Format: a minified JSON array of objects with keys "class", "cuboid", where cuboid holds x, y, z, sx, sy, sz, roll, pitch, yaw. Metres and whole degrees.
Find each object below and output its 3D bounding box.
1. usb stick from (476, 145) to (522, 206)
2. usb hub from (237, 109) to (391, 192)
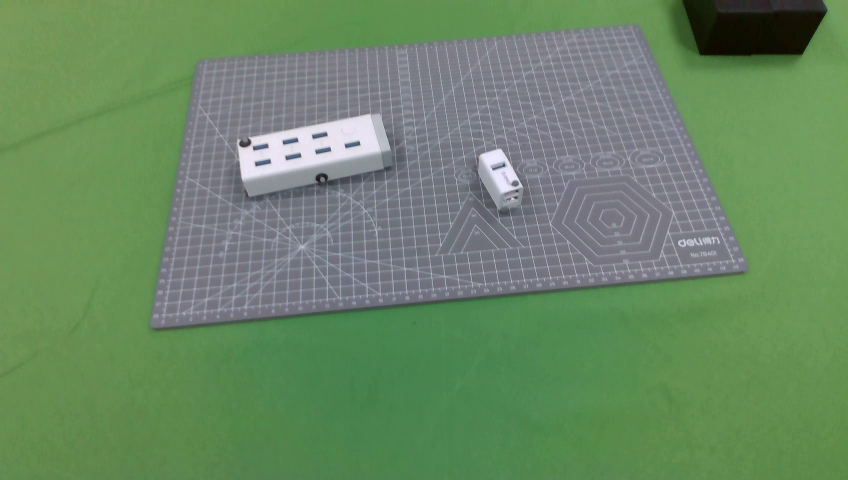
[{"class":"usb stick","cuboid":[0.059,-0.059,0.502,0.021,0.027,0.058,-19,55,-9]},{"class":"usb hub","cuboid":[-0.094,-0.078,0.520,0.125,0.025,0.049,-12,56,-7]}]
